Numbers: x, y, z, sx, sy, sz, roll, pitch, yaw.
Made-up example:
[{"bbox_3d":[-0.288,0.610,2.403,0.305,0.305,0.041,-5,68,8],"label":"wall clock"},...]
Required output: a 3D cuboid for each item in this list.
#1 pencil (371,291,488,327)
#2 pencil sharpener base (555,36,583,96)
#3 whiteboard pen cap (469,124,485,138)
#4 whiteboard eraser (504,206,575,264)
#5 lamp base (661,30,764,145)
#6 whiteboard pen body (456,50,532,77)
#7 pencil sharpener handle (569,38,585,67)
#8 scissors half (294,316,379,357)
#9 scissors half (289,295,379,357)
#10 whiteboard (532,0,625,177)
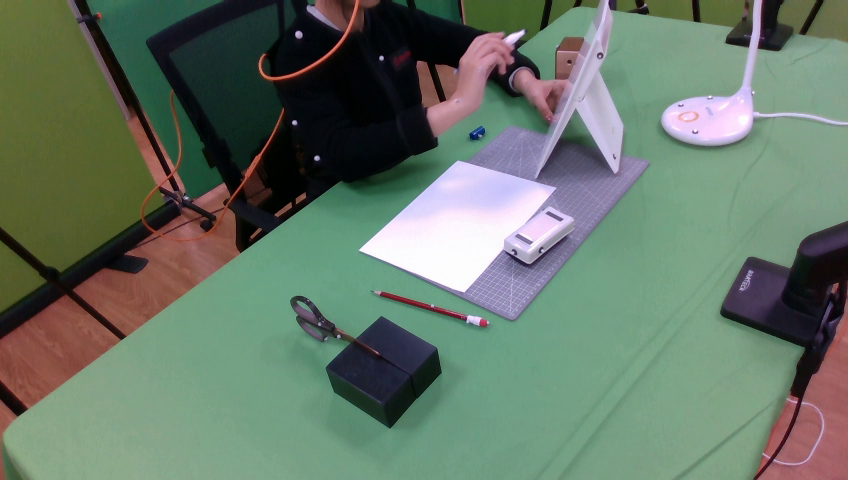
[{"bbox_3d":[0.003,0.097,0.877,0.193,0.012,0.012,13,45,26],"label":"pencil"},{"bbox_3d":[0.318,-0.371,1.290,0.061,0.107,0.076,10,44,22],"label":"pencil sharpener base"},{"bbox_3d":[0.107,-0.220,1.224,0.033,0.018,0.018,-37,48,-24],"label":"whiteboard pen cap"},{"bbox_3d":[0.179,-0.006,0.936,0.113,0.042,0.055,-35,46,-27],"label":"whiteboard eraser"},{"bbox_3d":[0.535,-0.287,1.096,0.179,0.181,0.159,-10,40,-4],"label":"lamp base"},{"bbox_3d":[0.127,-0.323,1.099,0.140,0.017,0.017,-15,40,7],"label":"whiteboard pen body"},{"bbox_3d":[0.333,-0.413,1.317,0.036,0.068,0.030,19,47,13],"label":"pencil sharpener handle"},{"bbox_3d":[-0.119,0.132,0.813,0.174,0.040,0.013,9,32,44],"label":"scissors half"},{"bbox_3d":[-0.122,0.114,0.803,0.174,0.040,0.013,26,48,32],"label":"scissors half"},{"bbox_3d":[0.320,-0.258,1.050,0.144,0.306,0.217,21,45,4],"label":"whiteboard"}]
